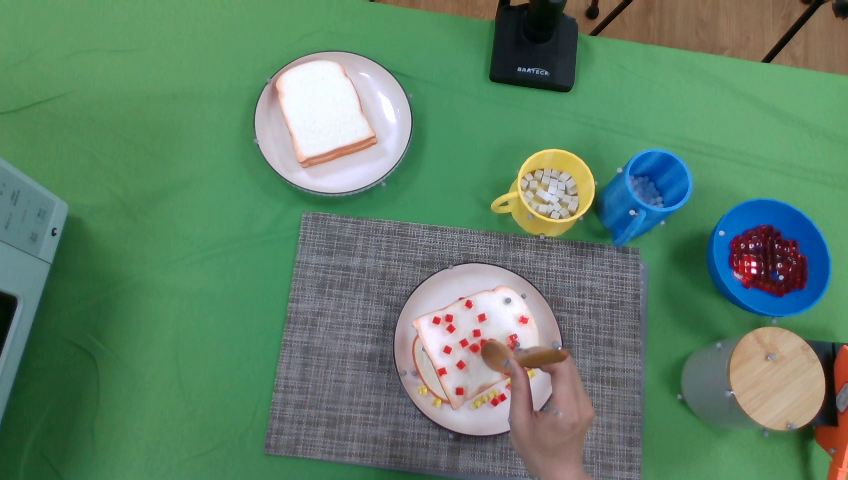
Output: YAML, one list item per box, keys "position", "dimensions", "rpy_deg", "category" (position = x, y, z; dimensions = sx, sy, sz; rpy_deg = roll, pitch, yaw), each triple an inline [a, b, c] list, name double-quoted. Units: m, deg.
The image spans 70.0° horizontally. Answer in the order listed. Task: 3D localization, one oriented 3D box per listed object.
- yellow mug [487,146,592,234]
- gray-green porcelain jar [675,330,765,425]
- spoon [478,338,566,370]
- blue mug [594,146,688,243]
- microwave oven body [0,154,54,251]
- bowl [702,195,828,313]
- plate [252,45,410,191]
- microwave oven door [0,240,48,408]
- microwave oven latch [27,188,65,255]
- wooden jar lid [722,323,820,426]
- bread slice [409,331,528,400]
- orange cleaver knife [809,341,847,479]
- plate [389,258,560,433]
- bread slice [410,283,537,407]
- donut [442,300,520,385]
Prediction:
- position: [0.146, -0.060, 0.787]
  dimensions: [0.131, 0.064, 0.099]
  rpy_deg: [-13, 75, -6]
  category: "yellow mug"
- position: [0.366, 0.162, 0.710]
  dimensions: [0.106, 0.127, 0.105]
  rpy_deg: [1, 74, -3]
  category: "gray-green porcelain jar"
- position: [0.090, 0.111, 0.582]
  dimensions: [0.021, 0.194, 0.041]
  rpy_deg: [-32, 87, -14]
  category: "spoon"
- position: [0.267, -0.048, 0.772]
  dimensions: [0.082, 0.106, 0.116]
  rpy_deg: [27, 75, 5]
  category: "blue mug"
- position: [-0.628, 0.095, 0.587]
  dimensions: [0.326, 0.261, 0.439]
  rpy_deg: [9, 75, -2]
  category: "microwave oven body"
- position: [0.418, 0.026, 0.775]
  dimensions: [0.151, 0.077, 0.150]
  rpy_deg: [1, 75, -3]
  category: "bowl"
- position: [-0.122, -0.160, 0.811]
  dimensions: [0.208, 0.039, 0.206]
  rpy_deg: [1, 75, -4]
  category: "plate"
- position: [-0.490, 0.157, 0.574]
  dimensions: [0.039, 0.245, 0.354]
  rpy_deg: [9, 74, -1]
  category: "microwave oven door"
- position: [-0.462, -0.024, 0.731]
  dimensions: [0.030, 0.029, 0.079]
  rpy_deg: [12, 75, -1]
  category: "microwave oven latch"
- position: [0.369, 0.144, 0.649]
  dimensions: [0.108, 0.021, 0.108]
  rpy_deg: [1, 77, -5]
  category: "wooden jar lid"
- position: [0.050, 0.135, 0.742]
  dimensions: [0.131, 0.019, 0.104]
  rpy_deg: [-24, 76, -13]
  category: "bread slice"
- position: [0.486, 0.228, 0.722]
  dimensions: [0.012, 0.077, 0.212]
  rpy_deg: [6, 101, -1]
  category: "orange cleaver knife"
- position: [0.061, 0.127, 0.741]
  dimensions: [0.209, 0.038, 0.208]
  rpy_deg: [1, 75, -3]
  category: "plate"
- position: [0.061, 0.108, 0.685]
  dimensions: [0.134, 0.018, 0.106]
  rpy_deg: [-27, 83, -17]
  category: "bread slice"
- position: [0.068, 0.121, 0.714]
  dimensions: [0.099, 0.048, 0.098]
  rpy_deg: [6, 74, -20]
  category: "donut"
